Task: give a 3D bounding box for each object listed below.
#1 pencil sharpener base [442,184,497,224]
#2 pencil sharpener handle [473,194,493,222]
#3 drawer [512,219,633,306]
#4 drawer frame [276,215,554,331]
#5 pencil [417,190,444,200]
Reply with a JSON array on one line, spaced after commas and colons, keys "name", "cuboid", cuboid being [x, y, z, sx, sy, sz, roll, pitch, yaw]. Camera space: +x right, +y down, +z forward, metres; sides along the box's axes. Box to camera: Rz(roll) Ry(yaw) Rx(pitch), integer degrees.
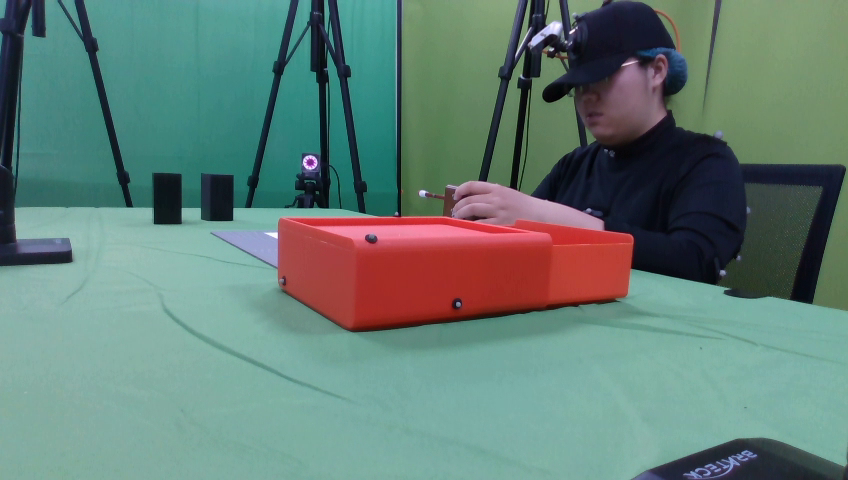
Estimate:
[{"name": "pencil sharpener base", "cuboid": [0.072, -0.033, 0.987, 0.061, 0.107, 0.076, 1, 10, -29]}, {"name": "pencil sharpener handle", "cuboid": [0.099, -0.036, 0.942, 0.036, 0.067, 0.030, -6, 13, -28]}, {"name": "drawer", "cuboid": [0.085, 0.021, 0.674, 0.213, 0.073, 0.193, -2, 9, -32]}, {"name": "drawer frame", "cuboid": [-0.015, 0.022, 0.610, 0.215, 0.082, 0.200, -2, 9, -32]}, {"name": "pencil", "cuboid": [0.037, -0.073, 1.053, 0.012, 0.012, 0.193, -1, 10, -29]}]
